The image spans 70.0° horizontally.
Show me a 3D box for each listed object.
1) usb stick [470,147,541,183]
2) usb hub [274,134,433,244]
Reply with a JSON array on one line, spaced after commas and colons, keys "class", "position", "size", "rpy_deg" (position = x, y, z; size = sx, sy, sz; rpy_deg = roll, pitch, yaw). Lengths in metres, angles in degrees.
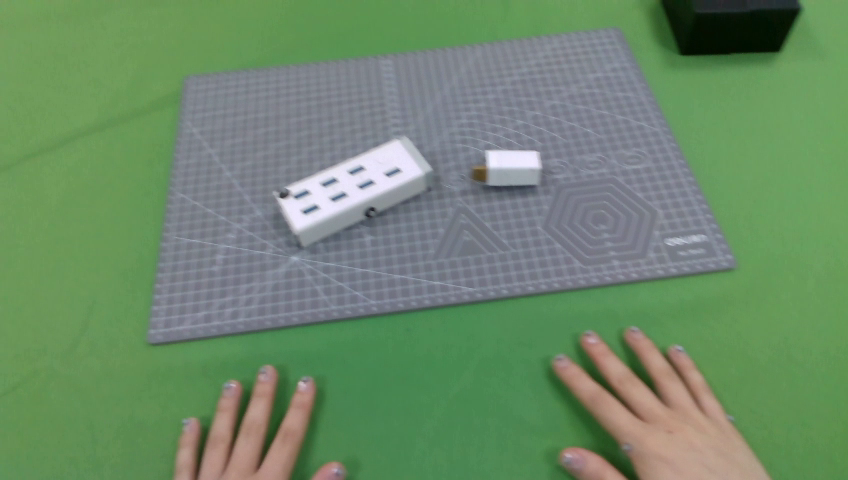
[{"class": "usb stick", "position": [0.068, -0.064, 0.514], "size": [0.059, 0.022, 0.027], "rpy_deg": [-2, 44, -1]}, {"class": "usb hub", "position": [-0.058, -0.045, 0.508], "size": [0.125, 0.025, 0.049], "rpy_deg": [-26, 57, -14]}]
